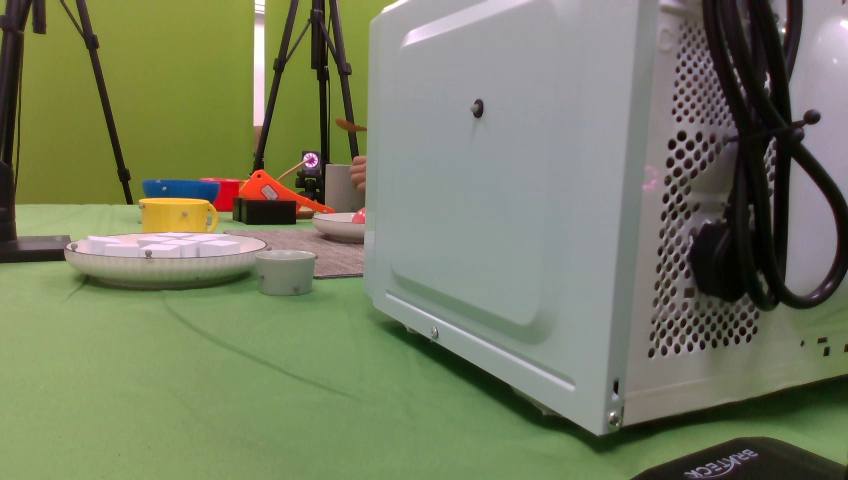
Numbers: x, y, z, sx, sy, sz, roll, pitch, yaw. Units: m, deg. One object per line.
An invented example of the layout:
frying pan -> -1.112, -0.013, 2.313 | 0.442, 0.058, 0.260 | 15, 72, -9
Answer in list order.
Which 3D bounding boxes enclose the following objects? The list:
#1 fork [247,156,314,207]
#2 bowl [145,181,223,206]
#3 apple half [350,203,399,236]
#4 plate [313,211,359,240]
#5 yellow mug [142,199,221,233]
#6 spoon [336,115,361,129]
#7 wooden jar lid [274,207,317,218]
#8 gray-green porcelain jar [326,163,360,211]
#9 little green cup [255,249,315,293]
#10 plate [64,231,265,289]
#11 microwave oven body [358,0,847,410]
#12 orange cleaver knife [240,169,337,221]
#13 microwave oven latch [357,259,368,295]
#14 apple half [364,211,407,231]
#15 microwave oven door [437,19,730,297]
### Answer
fork -> -0.360, -0.147, 1.523 | 0.207, 0.018, 0.028 | -43, 15, -7
bowl -> -0.499, -0.081, 1.261 | 0.151, 0.077, 0.151 | 2, 7, 0
apple half -> -0.081, -0.036, 1.024 | 0.081, 0.053, 0.074 | -2, 11, -34
plate -> -0.091, -0.026, 1.063 | 0.209, 0.038, 0.209 | 2, 7, 0
yellow mug -> -0.372, -0.030, 0.948 | 0.099, 0.064, 0.131 | 6, 7, 30
spoon -> -0.117, -0.264, 1.435 | 0.195, 0.021, 0.041 | 8, -13, -24
wooden jar lid -> -0.303, -0.065, 1.409 | 0.108, 0.020, 0.108 | 3, 9, 0
gray-green porcelain jar -> -0.187, -0.125, 1.488 | 0.106, 0.126, 0.106 | 2, 8, 0
little green cup -> -0.144, 0.032, 0.627 | 0.061, 0.038, 0.061 | 2, 6, 0
plate -> -0.288, 0.021, 0.687 | 0.208, 0.039, 0.207 | 2, 8, 0
microwave oven body -> 0.210, -0.051, 0.471 | 0.444, 0.260, 0.324 | -1, 7, -28
orange cleaver knife -> -0.287, -0.082, 1.299 | 0.212, 0.077, 0.012 | 25, -1, -31
microwave oven latch -> -0.019, 0.031, 0.529 | 0.079, 0.029, 0.030 | -1, 7, -26
apple half -> -0.068, -0.037, 1.104 | 0.081, 0.033, 0.081 | -1, 9, 0
microwave oven door -> 0.180, -0.076, 0.618 | 0.358, 0.243, 0.039 | -2, 9, -28
